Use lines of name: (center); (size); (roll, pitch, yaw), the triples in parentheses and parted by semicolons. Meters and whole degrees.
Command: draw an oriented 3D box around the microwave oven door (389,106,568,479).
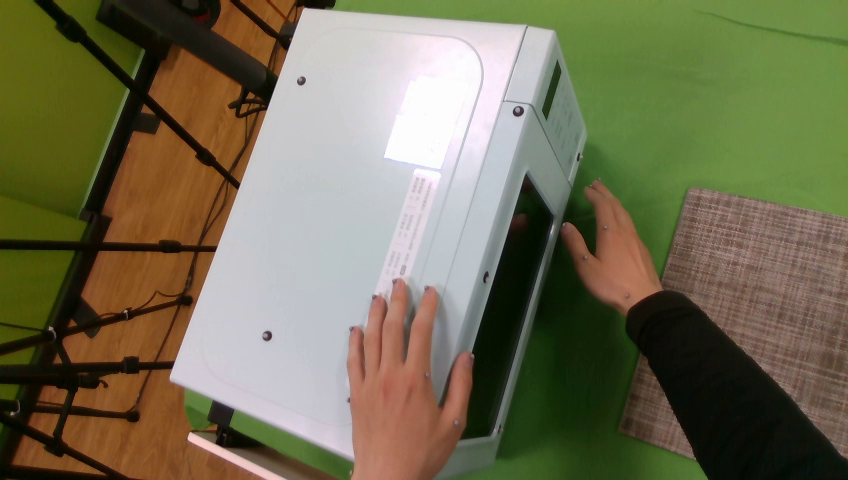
microwave oven door: (0.072, 0.071, 0.644); (0.039, 0.246, 0.355); (14, 82, 25)

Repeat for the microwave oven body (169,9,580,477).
microwave oven body: (-0.041, 0.001, 0.715); (0.324, 0.262, 0.440); (14, 82, 24)

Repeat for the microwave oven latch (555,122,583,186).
microwave oven latch: (0.178, -0.110, 0.762); (0.030, 0.030, 0.079); (15, 83, 24)
